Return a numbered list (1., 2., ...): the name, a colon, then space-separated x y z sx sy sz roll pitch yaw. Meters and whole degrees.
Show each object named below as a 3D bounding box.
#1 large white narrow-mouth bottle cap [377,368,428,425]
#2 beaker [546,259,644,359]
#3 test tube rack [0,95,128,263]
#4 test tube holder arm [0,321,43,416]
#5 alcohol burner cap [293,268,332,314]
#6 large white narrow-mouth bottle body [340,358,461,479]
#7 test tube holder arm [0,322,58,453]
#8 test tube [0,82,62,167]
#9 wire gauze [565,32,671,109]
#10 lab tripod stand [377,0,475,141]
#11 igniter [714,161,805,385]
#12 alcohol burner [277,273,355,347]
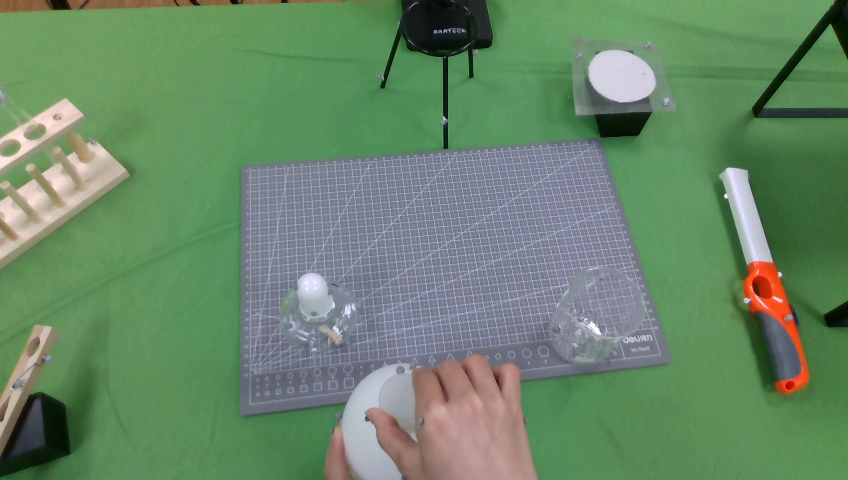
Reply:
1. large white narrow-mouth bottle cap: -0.016 0.110 0.426 0.038 0.024 0.037 1 63 -3
2. beaker: 0.165 0.075 0.613 0.084 0.101 0.073 -4 63 -4
3. test tube rack: -0.452 -0.041 0.643 0.066 0.086 0.242 40 67 15
4. test tube holder arm: -0.368 0.117 0.554 0.010 0.015 0.087 5 64 5
5. alcohol burner cap: -0.105 0.046 0.562 0.034 0.048 0.033 0 58 0
6. large white narrow-mouth bottle body: -0.020 0.155 0.511 0.102 0.196 0.101 1 62 -2
7. test tube holder arm: -0.368 0.157 0.534 0.013 0.015 0.177 7 64 6
8. test tube: -0.417 -0.123 0.631 0.017 0.151 0.017 0 61 0
9. wire gauze: 0.241 -0.215 0.763 0.121 0.011 0.124 1 63 -3
10. lab tripod stand: 0.012 -0.216 0.734 0.148 0.132 0.147 2 64 -4
11. igniter: 0.381 0.029 0.693 0.057 0.025 0.274 5 63 -13
12. alcohol burner: -0.107 0.062 0.595 0.078 0.120 0.077 2 61 -4
